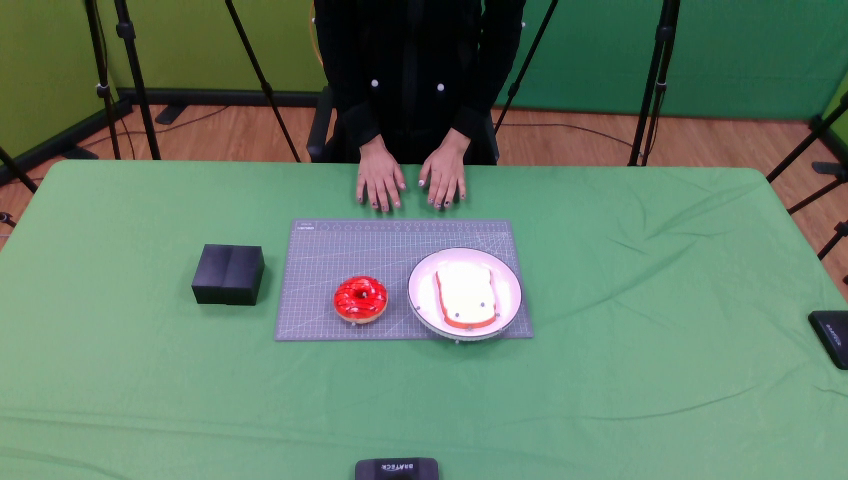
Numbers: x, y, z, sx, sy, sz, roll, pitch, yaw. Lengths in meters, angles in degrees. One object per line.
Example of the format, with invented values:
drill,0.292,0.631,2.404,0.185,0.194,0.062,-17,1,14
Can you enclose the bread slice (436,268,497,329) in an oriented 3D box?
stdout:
bread slice,0.080,0.103,1.091,0.105,0.019,0.130,-3,46,-5

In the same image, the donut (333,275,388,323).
donut,-0.112,0.103,1.072,0.099,0.048,0.098,0,46,0

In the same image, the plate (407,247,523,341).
plate,0.073,0.098,1.093,0.209,0.038,0.208,2,46,-2
